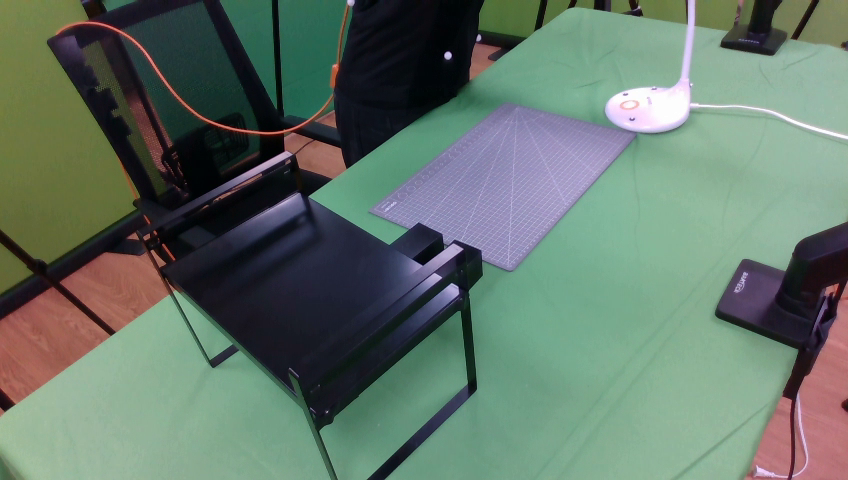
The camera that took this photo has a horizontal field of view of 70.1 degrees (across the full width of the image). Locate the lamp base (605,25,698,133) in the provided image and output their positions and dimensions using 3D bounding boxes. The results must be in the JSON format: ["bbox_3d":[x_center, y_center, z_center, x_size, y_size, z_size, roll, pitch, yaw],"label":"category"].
[{"bbox_3d":[0.449,-0.321,1.161,0.179,0.181,0.159,-6,41,-2],"label":"lamp base"}]
